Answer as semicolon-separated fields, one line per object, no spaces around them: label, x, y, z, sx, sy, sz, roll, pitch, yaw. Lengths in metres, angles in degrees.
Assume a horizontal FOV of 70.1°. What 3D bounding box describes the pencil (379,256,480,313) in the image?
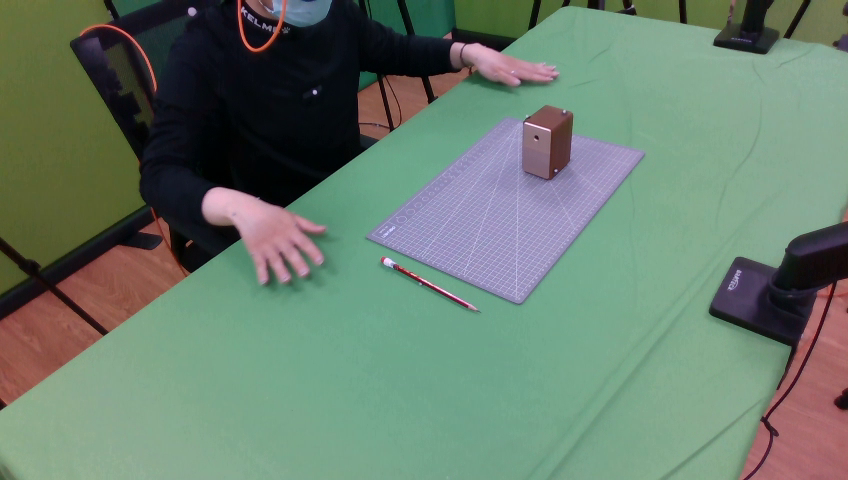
pencil;0.005;0.066;0.901;0.192;0.012;0.012;26;50;31

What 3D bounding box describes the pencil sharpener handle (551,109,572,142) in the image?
pencil sharpener handle;0.253;-0.212;1.090;0.035;0.068;0.031;22;48;36

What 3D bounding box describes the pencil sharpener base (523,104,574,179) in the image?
pencil sharpener base;0.220;-0.175;1.071;0.061;0.107;0.077;26;50;33
